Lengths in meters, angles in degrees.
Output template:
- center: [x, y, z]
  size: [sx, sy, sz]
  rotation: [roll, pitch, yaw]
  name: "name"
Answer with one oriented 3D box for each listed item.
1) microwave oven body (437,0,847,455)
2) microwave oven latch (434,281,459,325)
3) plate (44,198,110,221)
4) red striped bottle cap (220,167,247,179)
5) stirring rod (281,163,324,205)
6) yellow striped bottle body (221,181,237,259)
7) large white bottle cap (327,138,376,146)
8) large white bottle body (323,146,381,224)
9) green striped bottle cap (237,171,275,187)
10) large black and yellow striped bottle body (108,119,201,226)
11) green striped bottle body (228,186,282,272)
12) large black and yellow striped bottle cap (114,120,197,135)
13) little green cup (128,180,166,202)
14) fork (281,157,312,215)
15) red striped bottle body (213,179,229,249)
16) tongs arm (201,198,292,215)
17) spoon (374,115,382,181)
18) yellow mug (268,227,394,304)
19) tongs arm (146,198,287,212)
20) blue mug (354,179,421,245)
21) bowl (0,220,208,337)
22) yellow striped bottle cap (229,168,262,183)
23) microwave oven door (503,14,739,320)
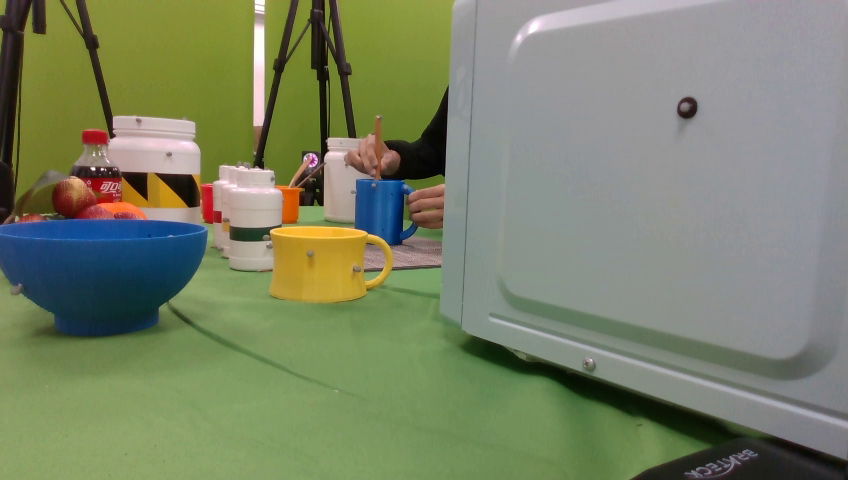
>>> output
- center: [0.279, -0.040, 0.464]
  size: [0.444, 0.260, 0.324]
  rotation: [-3, 9, -41]
  name: "microwave oven body"
- center: [0.044, 0.045, 0.470]
  size: [0.079, 0.029, 0.030]
  rotation: [-2, 8, -39]
  name: "microwave oven latch"
- center: [-0.617, -0.056, 1.179]
  size: [0.209, 0.038, 0.209]
  rotation: [3, 7, 0]
  name: "plate"
- center: [-0.281, -0.100, 0.901]
  size: [0.044, 0.017, 0.044]
  rotation: [-1, 5, 0]
  name: "red striped bottle cap"
- center: [-0.278, -0.105, 1.293]
  size: [0.176, 0.006, 0.014]
  rotation: [-47, 24, -18]
  name: "stirring rod"
- center: [-0.244, -0.035, 0.823]
  size: [0.063, 0.120, 0.063]
  rotation: [3, 8, 0]
  name: "yellow striped bottle body"
- center: [-0.160, -0.218, 1.357]
  size: [0.115, 0.018, 0.115]
  rotation: [2, 8, 0]
  name: "large white bottle cap"
- center: [-0.163, -0.134, 1.369]
  size: [0.131, 0.184, 0.130]
  rotation: [2, 8, 0]
  name: "large white bottle body"
- center: [-0.205, -0.074, 0.738]
  size: [0.044, 0.020, 0.044]
  rotation: [1, 9, 0]
  name: "green striped bottle cap"
- center: [-0.412, -0.088, 0.930]
  size: [0.131, 0.184, 0.130]
  rotation: [3, 7, 0]
  name: "large black and yellow striped bottle body"
- center: [-0.208, -0.023, 0.745]
  size: [0.063, 0.119, 0.063]
  rotation: [2, 7, 0]
  name: "green striped bottle body"
- center: [-0.407, -0.171, 0.920]
  size: [0.115, 0.019, 0.115]
  rotation: [2, 9, 0]
  name: "large black and yellow striped bottle cap"
- center: [-0.485, -0.087, 1.062]
  size: [0.061, 0.038, 0.061]
  rotation: [-1, 6, 0]
  name: "little green cup"
- center: [-0.289, -0.116, 1.321]
  size: [0.028, 0.019, 0.207]
  rotation: [6, 51, 19]
  name: "fork"
- center: [-0.284, -0.048, 0.909]
  size: [0.063, 0.119, 0.063]
  rotation: [3, 10, 0]
  name: "red striped bottle body"
- center: [-0.424, -0.084, 1.473]
  size: [0.050, 0.026, 0.386]
  rotation: [1, 6, 21]
  name: "tongs arm"
- center: [-0.083, -0.113, 1.024]
  size: [0.022, 0.193, 0.041]
  rotation: [8, -1, -26]
  name: "spoon"
- center: [-0.094, 0.023, 0.630]
  size: [0.131, 0.064, 0.099]
  rotation: [0, 8, -22]
  name: "yellow mug"
- center: [-0.505, -0.089, 1.513]
  size: [0.028, 0.028, 0.389]
  rotation: [-2, 3, 37]
  name: "tongs arm"
- center: [-0.060, -0.047, 1.006]
  size: [0.116, 0.106, 0.082]
  rotation: [5, 8, 18]
  name: "blue mug"
- center: [-0.251, 0.029, 0.479]
  size: [0.151, 0.077, 0.151]
  rotation: [2, 7, 0]
  name: "bowl"
- center: [-0.240, -0.087, 0.816]
  size: [0.044, 0.018, 0.044]
  rotation: [-3, 5, 1]
  name: "yellow striped bottle cap"
- center: [0.218, -0.065, 0.600]
  size: [0.358, 0.243, 0.039]
  rotation: [-4, 10, -41]
  name: "microwave oven door"
